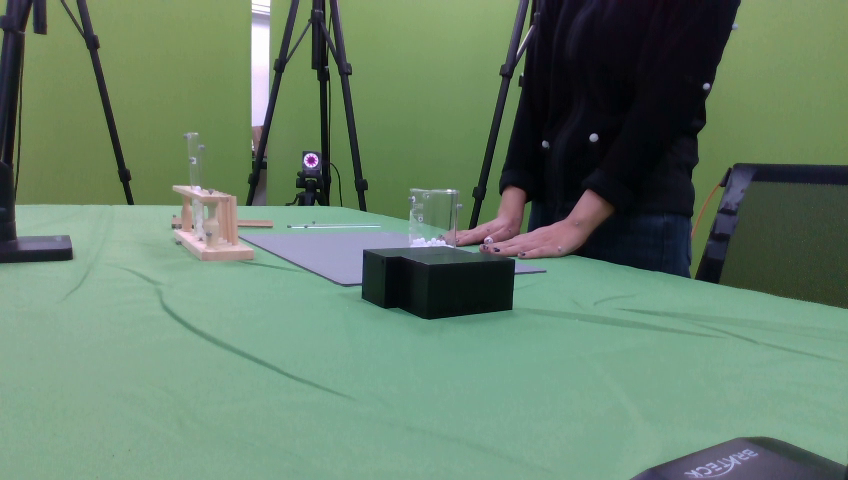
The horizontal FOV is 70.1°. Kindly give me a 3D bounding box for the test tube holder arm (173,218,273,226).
[{"bbox_3d":[-0.371,-0.033,1.128,0.179,0.015,0.013,-1,-21,-25],"label":"test tube holder arm"}]

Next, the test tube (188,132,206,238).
[{"bbox_3d":[-0.323,-0.077,0.861,0.017,0.150,0.017,-1,8,1],"label":"test tube"}]

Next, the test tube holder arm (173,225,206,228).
[{"bbox_3d":[-0.414,-0.030,1.113,0.088,0.015,0.010,-1,-21,-25],"label":"test tube holder arm"}]

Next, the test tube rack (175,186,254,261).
[{"bbox_3d":[-0.314,-0.031,0.889,0.067,0.085,0.241,-2,8,-30],"label":"test tube rack"}]

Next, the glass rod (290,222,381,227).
[{"bbox_3d":[-0.178,-0.033,1.247,0.201,0.008,0.008,-2,8,-30],"label":"glass rod"}]

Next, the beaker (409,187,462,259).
[{"bbox_3d":[0.013,-0.027,0.884,0.074,0.100,0.083,0,7,-23],"label":"beaker"}]
